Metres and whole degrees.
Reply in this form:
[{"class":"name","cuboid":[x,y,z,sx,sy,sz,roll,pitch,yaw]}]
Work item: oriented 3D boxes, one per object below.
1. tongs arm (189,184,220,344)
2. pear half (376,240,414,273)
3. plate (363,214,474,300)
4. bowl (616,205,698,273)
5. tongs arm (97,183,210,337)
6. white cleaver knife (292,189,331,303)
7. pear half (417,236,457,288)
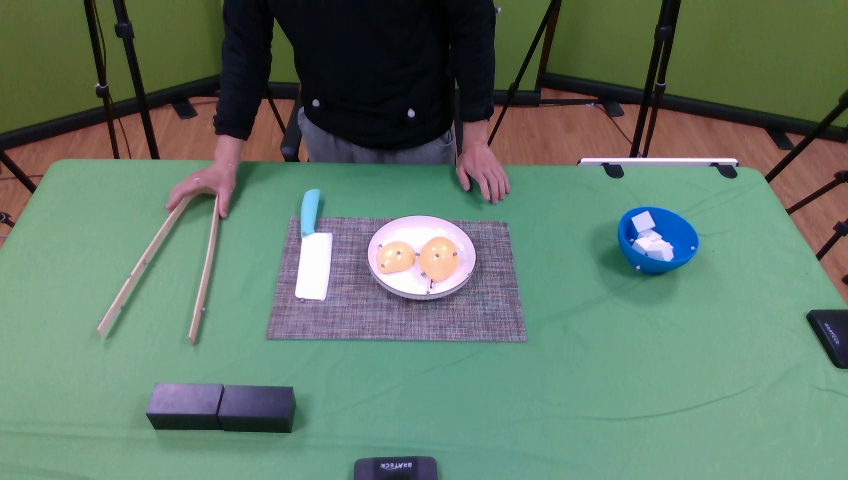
[{"class":"tongs arm","cuboid":[-0.411,0.029,1.133,0.028,0.028,0.385,-5,46,-5]},{"class":"pear half","cuboid":[-0.058,0.026,1.146,0.070,0.031,0.088,23,43,22]},{"class":"plate","cuboid":[-0.010,0.036,1.146,0.208,0.039,0.206,2,46,-2]},{"class":"bowl","cuboid":[0.443,0.010,1.182,0.151,0.077,0.150,2,46,-2]},{"class":"tongs arm","cuboid":[-0.491,0.022,1.128,0.051,0.026,0.382,7,45,1]},{"class":"white cleaver knife","cuboid":[-0.215,0.006,1.178,0.066,0.021,0.284,5,49,-13]},{"class":"pear half","cuboid":[0.022,0.039,1.127,0.076,0.056,0.109,6,50,7]}]
